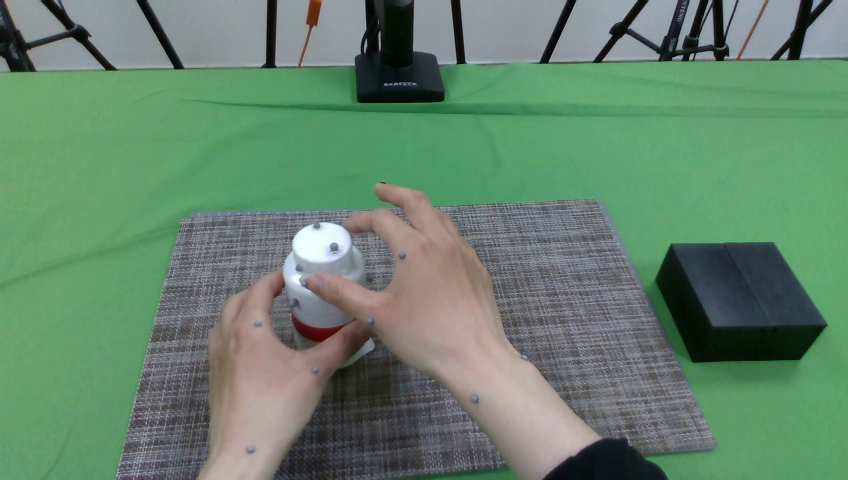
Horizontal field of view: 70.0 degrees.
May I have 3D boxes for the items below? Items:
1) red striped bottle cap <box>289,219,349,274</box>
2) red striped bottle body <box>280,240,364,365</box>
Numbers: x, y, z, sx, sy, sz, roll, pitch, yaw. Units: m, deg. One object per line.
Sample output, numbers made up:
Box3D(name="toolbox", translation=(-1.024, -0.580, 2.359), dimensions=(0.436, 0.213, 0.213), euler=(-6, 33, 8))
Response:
Box3D(name="red striped bottle cap", translation=(-0.077, 0.004, 0.447), dimensions=(0.044, 0.018, 0.044), euler=(5, 43, -4))
Box3D(name="red striped bottle body", translation=(-0.080, 0.041, 0.484), dimensions=(0.063, 0.121, 0.062), euler=(2, 43, -2))
